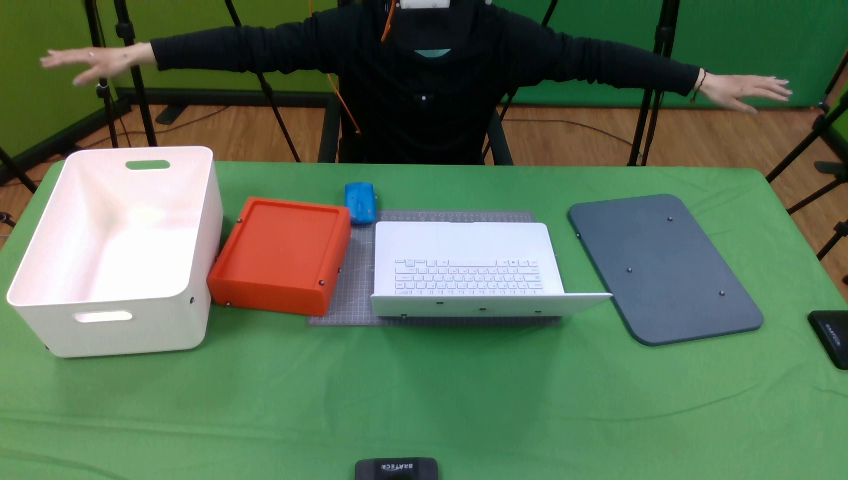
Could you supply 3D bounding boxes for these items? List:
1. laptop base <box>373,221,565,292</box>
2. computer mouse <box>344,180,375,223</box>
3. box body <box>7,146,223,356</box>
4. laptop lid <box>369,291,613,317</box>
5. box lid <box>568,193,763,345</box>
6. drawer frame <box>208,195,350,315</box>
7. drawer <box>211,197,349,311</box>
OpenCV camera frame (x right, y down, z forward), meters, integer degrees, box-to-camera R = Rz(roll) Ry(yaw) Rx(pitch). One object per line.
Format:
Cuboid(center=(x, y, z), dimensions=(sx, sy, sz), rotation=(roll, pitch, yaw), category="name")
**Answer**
Cuboid(center=(0.080, 0.049, 1.159), dimensions=(0.355, 0.023, 0.234), rotation=(0, 43, -4), category="laptop base")
Cuboid(center=(-0.134, -0.083, 1.252), dimensions=(0.063, 0.041, 0.116), rotation=(0, 47, -7), category="computer mouse")
Cuboid(center=(-0.499, 0.012, 1.051), dimensions=(0.254, 0.161, 0.361), rotation=(-3, 47, -7), category="box body")
Cuboid(center=(0.092, 0.104, 0.965), dimensions=(0.357, 0.242, 0.013), rotation=(0, 76, -5), category="laptop lid")
Cuboid(center=(0.465, 0.040, 1.203), dimensions=(0.264, 0.015, 0.369), rotation=(-7, 47, -11), category="box lid")
Cuboid(center=(-0.256, 0.023, 1.113), dimensions=(0.202, 0.083, 0.212), rotation=(6, 47, 3), category="drawer frame")
Cuboid(center=(-0.255, 0.022, 1.114), dimensions=(0.194, 0.073, 0.210), rotation=(7, 47, 3), category="drawer")
